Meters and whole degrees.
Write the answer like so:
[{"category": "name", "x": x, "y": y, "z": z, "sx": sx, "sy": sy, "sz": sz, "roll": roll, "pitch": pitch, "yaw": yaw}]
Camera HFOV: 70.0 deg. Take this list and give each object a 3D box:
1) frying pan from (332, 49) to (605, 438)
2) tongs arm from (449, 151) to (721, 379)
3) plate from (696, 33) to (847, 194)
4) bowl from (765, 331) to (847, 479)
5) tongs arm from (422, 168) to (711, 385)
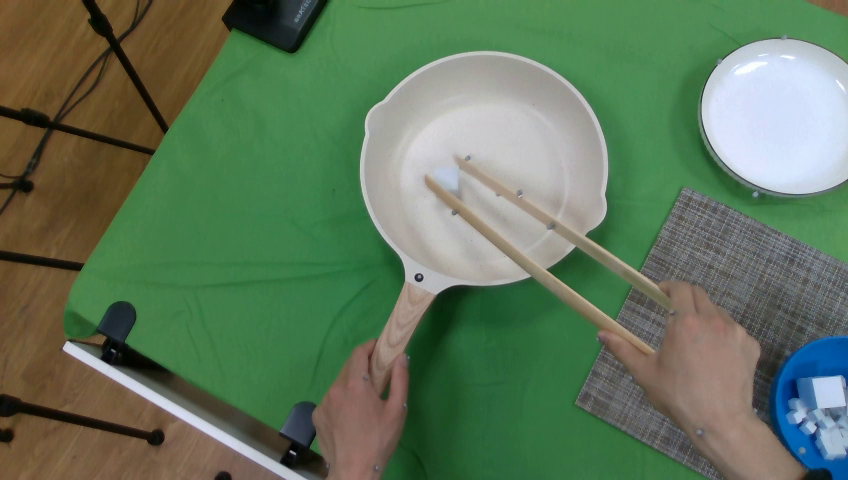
[{"category": "frying pan", "x": 0.019, "y": 0.000, "z": 0.708, "sx": 0.306, "sy": 0.103, "sz": 0.486, "roll": 26, "pitch": 72, "yaw": 10}, {"category": "tongs arm", "x": 0.139, "y": 0.005, "z": 0.630, "sx": 0.051, "sy": 0.027, "sz": 0.380, "roll": -37, "pitch": 52, "yaw": -19}, {"category": "plate", "x": 0.439, "y": -0.153, "z": 0.748, "sx": 0.207, "sy": 0.039, "sz": 0.206, "roll": -1, "pitch": 77, "yaw": 4}, {"category": "bowl", "x": 0.433, "y": 0.176, "z": 0.650, "sx": 0.151, "sy": 0.077, "sz": 0.150, "roll": -1, "pitch": 78, "yaw": 4}, {"category": "tongs arm", "x": 0.116, "y": 0.020, "z": 0.623, "sx": 0.028, "sy": 0.028, "sz": 0.383, "roll": -33, "pitch": 50, "yaw": -20}]
